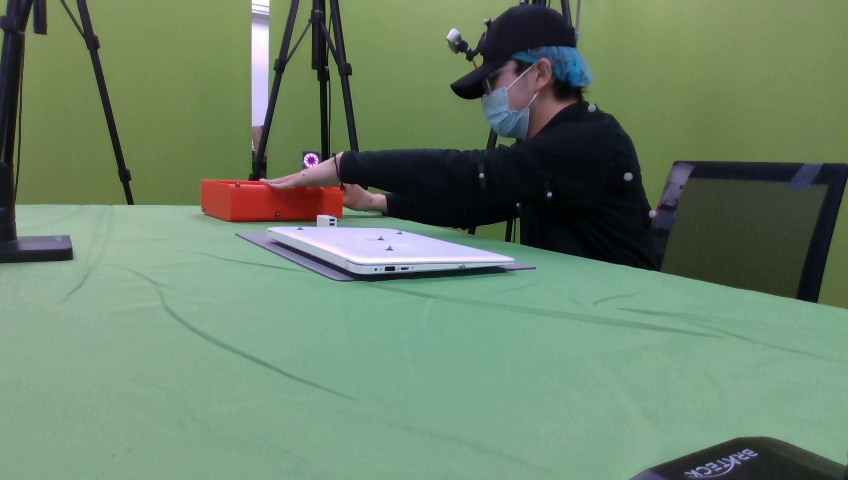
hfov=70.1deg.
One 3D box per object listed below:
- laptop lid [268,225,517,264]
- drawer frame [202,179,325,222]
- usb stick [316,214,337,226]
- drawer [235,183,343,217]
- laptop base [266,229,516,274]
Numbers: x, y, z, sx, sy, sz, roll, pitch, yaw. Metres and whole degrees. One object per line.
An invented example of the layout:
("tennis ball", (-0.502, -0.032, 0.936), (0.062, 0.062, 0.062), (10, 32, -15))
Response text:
("laptop lid", (-0.063, 0.002, 0.877), (0.243, 0.013, 0.355), (1, 7, -30))
("drawer frame", (-0.361, -0.092, 1.357), (0.215, 0.082, 0.200), (-4, 11, -37))
("usb stick", (-0.198, -0.038, 1.212), (0.021, 0.027, 0.059), (-4, 6, -38))
("drawer", (-0.321, -0.094, 1.386), (0.213, 0.073, 0.193), (-3, 10, -35))
("laptop base", (-0.066, 0.014, 0.877), (0.237, 0.023, 0.352), (2, 6, -32))
